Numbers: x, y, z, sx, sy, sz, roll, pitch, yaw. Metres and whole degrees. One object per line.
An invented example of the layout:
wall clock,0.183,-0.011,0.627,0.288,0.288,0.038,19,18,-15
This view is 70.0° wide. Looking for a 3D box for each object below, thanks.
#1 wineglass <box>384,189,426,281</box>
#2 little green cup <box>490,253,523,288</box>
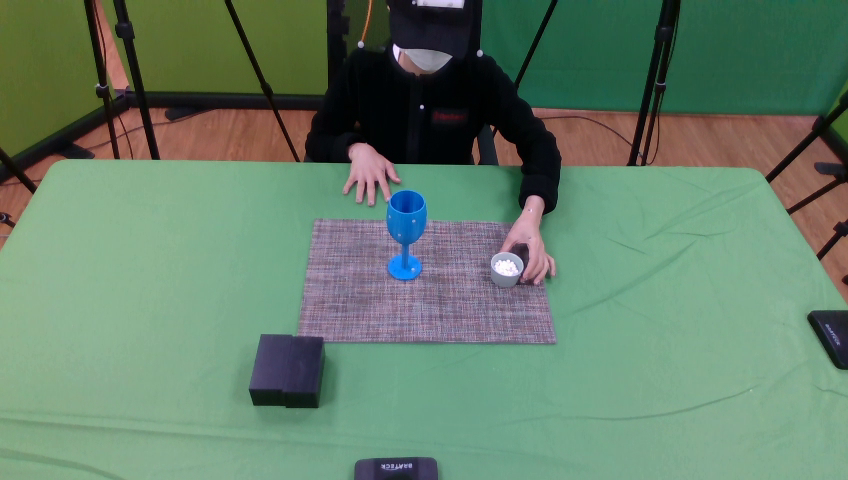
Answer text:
wineglass,-0.035,-0.006,1.091,0.074,0.173,0.073,2,46,-2
little green cup,0.153,0.059,1.137,0.061,0.039,0.061,3,47,-2
